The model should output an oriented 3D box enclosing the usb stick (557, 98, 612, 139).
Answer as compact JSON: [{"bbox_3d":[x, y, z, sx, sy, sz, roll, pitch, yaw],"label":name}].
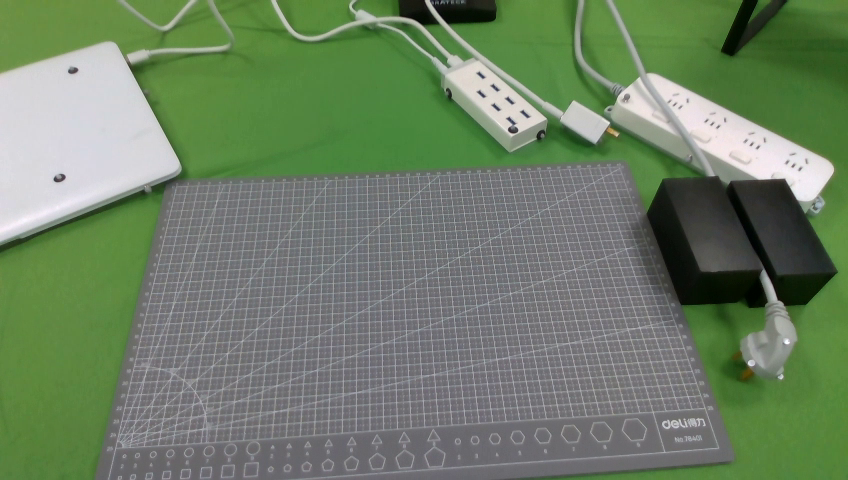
[{"bbox_3d":[0.168,-0.122,0.619,0.059,0.027,0.021,26,12,1],"label":"usb stick"}]

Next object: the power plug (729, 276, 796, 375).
[{"bbox_3d":[0.262,0.071,0.470,0.035,0.053,0.072,35,45,0],"label":"power plug"}]

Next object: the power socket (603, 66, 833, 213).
[{"bbox_3d":[0.290,-0.105,0.605,0.225,0.033,0.072,37,61,24],"label":"power socket"}]

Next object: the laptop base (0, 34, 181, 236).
[{"bbox_3d":[-0.440,-0.076,0.583,0.354,0.023,0.233,-27,62,-19],"label":"laptop base"}]

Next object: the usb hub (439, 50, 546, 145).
[{"bbox_3d":[0.070,-0.153,0.642,0.049,0.025,0.124,-29,59,-20],"label":"usb hub"}]

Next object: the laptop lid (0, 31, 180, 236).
[{"bbox_3d":[-0.439,-0.081,0.572,0.357,0.013,0.239,-25,61,-18],"label":"laptop lid"}]
